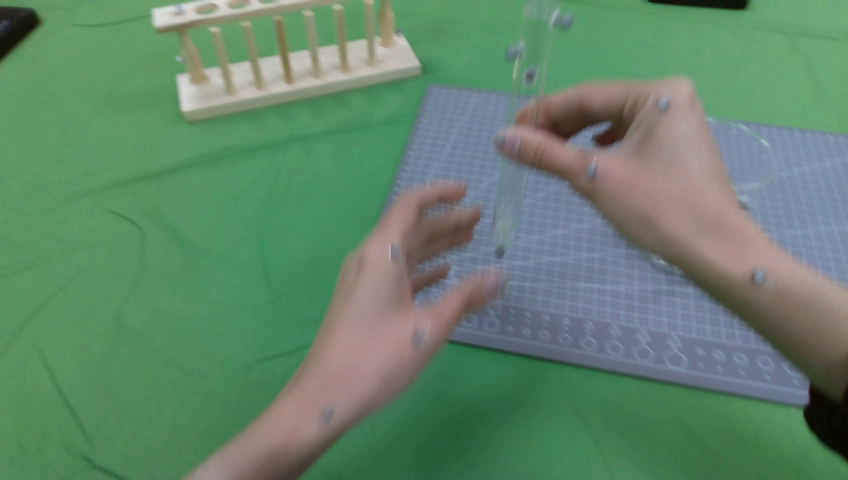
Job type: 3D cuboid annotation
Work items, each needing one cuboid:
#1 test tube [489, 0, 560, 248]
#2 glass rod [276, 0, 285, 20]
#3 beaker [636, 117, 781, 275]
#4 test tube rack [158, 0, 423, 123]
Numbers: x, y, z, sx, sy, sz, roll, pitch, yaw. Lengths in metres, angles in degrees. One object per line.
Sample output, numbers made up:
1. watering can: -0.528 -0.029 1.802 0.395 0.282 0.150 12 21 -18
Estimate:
1. test tube: 0.050 -0.053 0.319 0.017 0.151 0.017 2 43 -1
2. glass rod: -0.137 -0.240 0.560 0.008 0.201 0.008 2 52 -2
3. beaker: 0.201 -0.028 0.450 0.084 0.101 0.073 -6 49 -3
4. test tube rack: -0.126 -0.195 0.609 0.243 0.086 0.066 -15 51 -12
